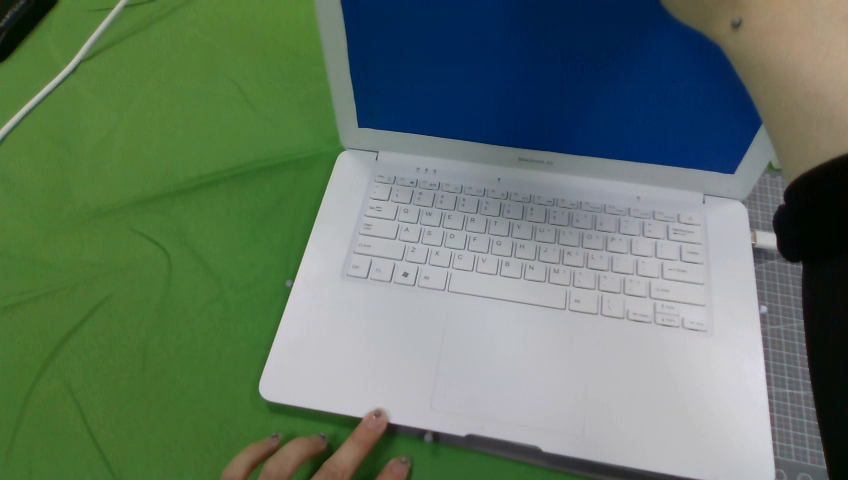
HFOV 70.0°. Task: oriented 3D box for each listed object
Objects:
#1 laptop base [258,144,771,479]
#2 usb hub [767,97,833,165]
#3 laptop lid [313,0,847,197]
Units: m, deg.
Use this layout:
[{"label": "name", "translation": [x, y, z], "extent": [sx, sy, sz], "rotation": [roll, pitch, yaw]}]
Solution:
[{"label": "laptop base", "translation": [0.073, 0.039, 0.473], "extent": [0.354, 0.023, 0.234], "rotation": [8, 61, 6]}, {"label": "usb hub", "translation": [0.333, -0.127, 0.574], "extent": [0.049, 0.025, 0.124], "rotation": [-4, 57, -2]}, {"label": "laptop lid", "translation": [0.094, -0.130, 0.438], "extent": [0.356, 0.244, 0.013], "rotation": [7, 54, 7]}]
